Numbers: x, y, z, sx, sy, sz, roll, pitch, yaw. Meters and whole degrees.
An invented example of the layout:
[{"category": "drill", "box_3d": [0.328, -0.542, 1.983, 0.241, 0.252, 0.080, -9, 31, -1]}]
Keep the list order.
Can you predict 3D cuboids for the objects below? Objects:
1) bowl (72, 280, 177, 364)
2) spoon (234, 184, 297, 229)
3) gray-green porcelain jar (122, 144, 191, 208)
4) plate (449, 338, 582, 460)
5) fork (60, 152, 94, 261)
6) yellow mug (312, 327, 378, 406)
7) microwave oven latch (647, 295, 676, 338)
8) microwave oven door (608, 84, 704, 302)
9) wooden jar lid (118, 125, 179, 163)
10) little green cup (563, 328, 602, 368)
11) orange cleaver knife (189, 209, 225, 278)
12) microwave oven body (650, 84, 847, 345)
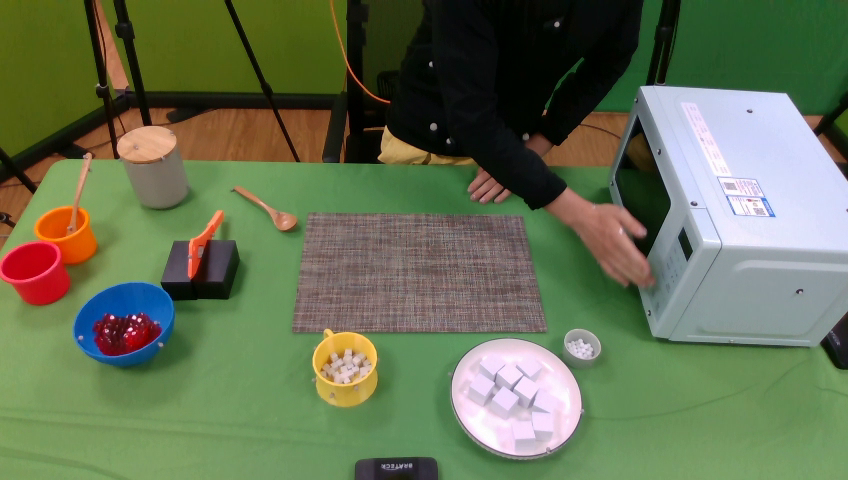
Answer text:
[{"category": "bowl", "box_3d": [-0.473, 0.146, 0.982, 0.151, 0.077, 0.150, 2, 46, -2]}, {"category": "spoon", "box_3d": [-0.328, -0.074, 1.240, 0.193, 0.022, 0.041, 34, 71, 25]}, {"category": "gray-green porcelain jar", "box_3d": [-0.531, -0.137, 1.214, 0.106, 0.127, 0.105, 2, 47, -2]}, {"category": "plate", "box_3d": [0.141, 0.251, 0.956, 0.208, 0.039, 0.206, 2, 46, -2]}, {"category": "fork", "box_3d": [-0.638, -0.063, 1.120, 0.028, 0.018, 0.207, 12, 90, 6]}, {"category": "yellow mug", "box_3d": [-0.132, 0.193, 0.971, 0.100, 0.064, 0.130, -22, 51, -22]}, {"category": "microwave oven latch", "box_3d": [0.413, 0.133, 1.060, 0.030, 0.029, 0.078, 4, 46, 1]}, {"category": "microwave oven door", "box_3d": [0.425, -0.096, 1.138, 0.039, 0.245, 0.353, 2, 47, -1]}, {"category": "wooden jar lid", "box_3d": [-0.528, -0.181, 1.167, 0.108, 0.021, 0.107, 3, 48, -4]}, {"category": "little green cup", "box_3d": [0.266, 0.185, 1.025, 0.061, 0.039, 0.061, 2, 44, -2]}, {"category": "orange cleaver knife", "box_3d": [-0.401, 0.002, 1.122, 0.012, 0.077, 0.210, 4, 23, -4]}, {"category": "microwave oven body", "box_3d": [0.568, -0.054, 1.116, 0.326, 0.261, 0.439, 2, 46, -1]}]
